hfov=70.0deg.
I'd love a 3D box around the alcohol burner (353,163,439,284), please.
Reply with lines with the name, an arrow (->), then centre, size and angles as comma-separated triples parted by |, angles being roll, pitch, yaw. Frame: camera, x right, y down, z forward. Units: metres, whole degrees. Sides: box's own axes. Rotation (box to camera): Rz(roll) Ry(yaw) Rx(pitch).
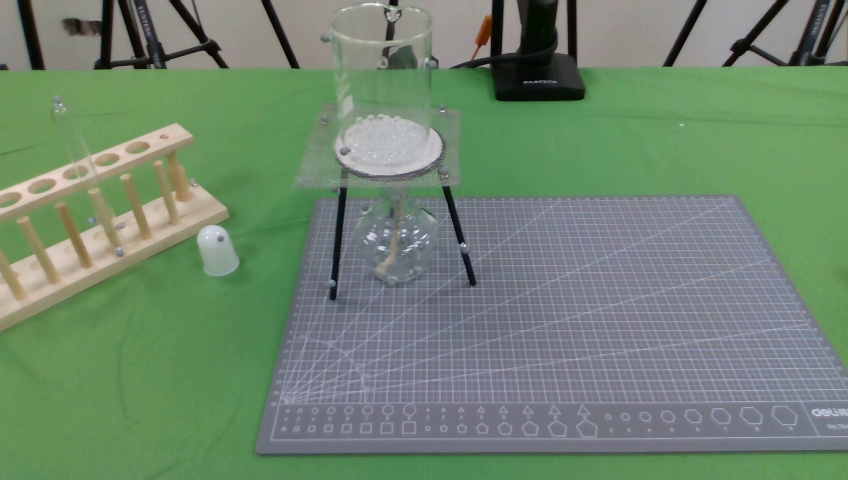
alcohol burner -> -0.025, -0.018, 0.532 | 0.078, 0.120, 0.077 | 1, 42, 0

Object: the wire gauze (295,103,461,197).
wire gauze -> -0.031, -0.074, 0.480 | 0.121, 0.011, 0.124 | 2, 43, 2

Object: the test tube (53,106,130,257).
test tube -> -0.285, -0.046, 0.524 | 0.017, 0.151, 0.017 | 0, 40, 0

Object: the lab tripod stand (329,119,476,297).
lab tripod stand -> -0.022, -0.025, 0.525 | 0.148, 0.132, 0.147 | 1, 40, 0

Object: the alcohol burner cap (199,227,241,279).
alcohol burner cap -> -0.191, 0.009, 0.562 | 0.034, 0.048, 0.033 | 0, 42, 0

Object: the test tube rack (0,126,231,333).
test tube rack -> -0.310, -0.013, 0.554 | 0.242, 0.086, 0.066 | -32, 50, -31

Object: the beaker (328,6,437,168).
beaker -> -0.029, -0.112, 0.450 | 0.074, 0.101, 0.083 | 7, 41, 6
